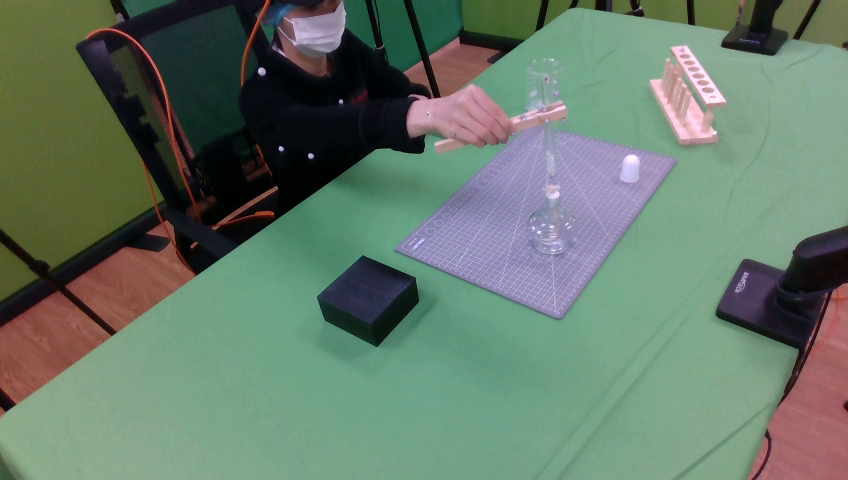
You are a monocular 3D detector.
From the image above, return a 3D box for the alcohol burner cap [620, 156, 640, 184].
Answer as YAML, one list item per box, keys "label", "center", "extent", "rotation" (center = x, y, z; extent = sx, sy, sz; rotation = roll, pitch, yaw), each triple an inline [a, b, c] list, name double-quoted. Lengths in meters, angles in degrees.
- label: "alcohol burner cap"
  center: [0.358, -0.124, 1.047]
  extent: [0.034, 0.048, 0.033]
  rotation: [-4, 40, 4]

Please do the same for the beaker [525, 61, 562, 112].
- label: "beaker"
  center: [0.248, -0.309, 1.246]
  extent: [0.073, 0.101, 0.084]
  rotation: [29, 52, 36]

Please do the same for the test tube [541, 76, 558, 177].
- label: "test tube"
  center: [0.170, -0.148, 0.813]
  extent: [0.017, 0.151, 0.017]
  rotation: [-8, 39, 7]

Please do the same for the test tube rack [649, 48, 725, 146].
- label: "test tube rack"
  center: [0.508, -0.285, 1.186]
  extent: [0.067, 0.085, 0.241]
  rotation: [-4, 40, 6]

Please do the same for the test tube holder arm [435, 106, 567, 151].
- label: "test tube holder arm"
  center: [0.101, -0.148, 0.805]
  extent: [0.178, 0.015, 0.013]
  rotation: [-14, 42, 9]

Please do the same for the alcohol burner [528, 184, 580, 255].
- label: "alcohol burner"
  center: [0.196, -0.036, 0.911]
  extent: [0.078, 0.119, 0.077]
  rotation: [-6, 41, 5]

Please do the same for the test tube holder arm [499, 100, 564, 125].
- label: "test tube holder arm"
  center: [0.143, -0.164, 0.803]
  extent: [0.088, 0.015, 0.010]
  rotation: [-20, 42, 3]
